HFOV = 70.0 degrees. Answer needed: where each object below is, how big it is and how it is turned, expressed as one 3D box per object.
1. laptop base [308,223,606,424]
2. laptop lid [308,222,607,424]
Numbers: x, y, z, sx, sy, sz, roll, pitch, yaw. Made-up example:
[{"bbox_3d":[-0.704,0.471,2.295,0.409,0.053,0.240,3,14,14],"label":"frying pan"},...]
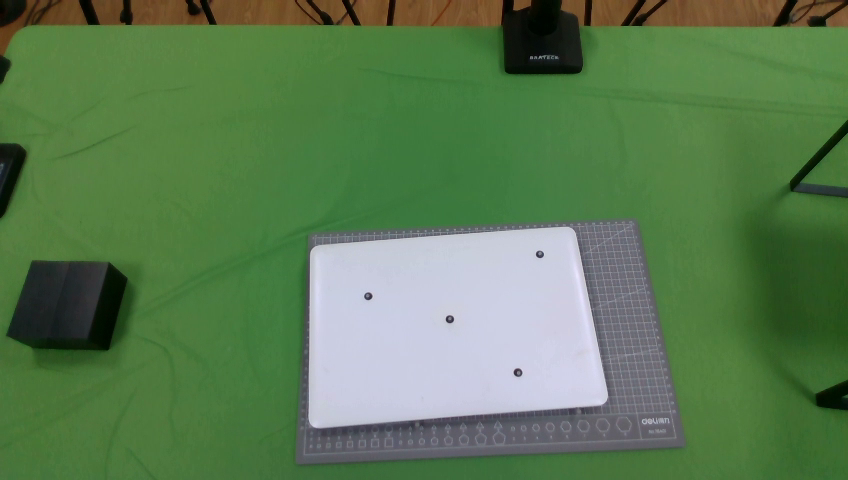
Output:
[{"bbox_3d":[0.033,0.098,0.762,0.354,0.023,0.233,-4,68,-1],"label":"laptop base"},{"bbox_3d":[0.033,0.095,0.750,0.357,0.013,0.239,-3,67,0],"label":"laptop lid"}]
